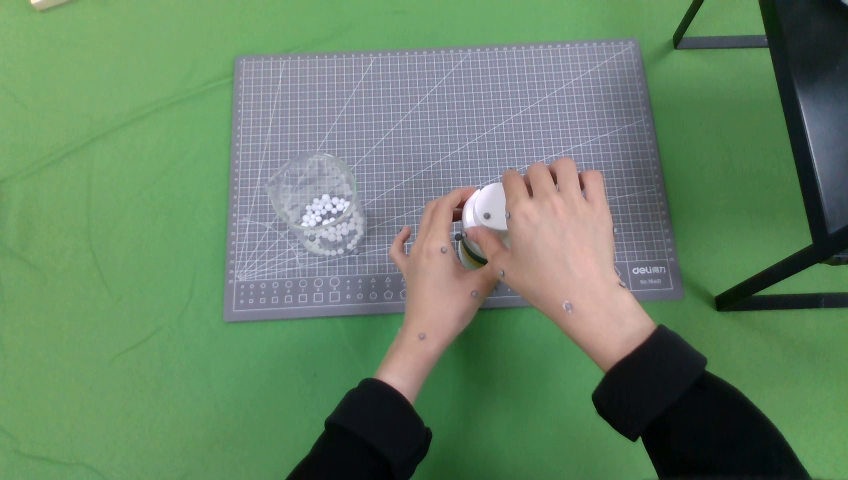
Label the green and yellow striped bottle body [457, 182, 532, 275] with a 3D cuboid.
[{"bbox_3d":[0.063,-0.013,0.553,0.063,0.120,0.063,0,72,1],"label":"green and yellow striped bottle body"}]

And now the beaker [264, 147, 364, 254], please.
[{"bbox_3d":[-0.099,-0.032,0.570,0.084,0.101,0.073,8,72,3],"label":"beaker"}]

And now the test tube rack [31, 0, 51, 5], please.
[{"bbox_3d":[-0.350,-0.357,0.679,0.242,0.085,0.066,-23,74,-7],"label":"test tube rack"}]

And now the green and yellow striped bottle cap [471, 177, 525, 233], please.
[{"bbox_3d":[0.061,-0.030,0.504,0.045,0.020,0.045,0,74,0],"label":"green and yellow striped bottle cap"}]
